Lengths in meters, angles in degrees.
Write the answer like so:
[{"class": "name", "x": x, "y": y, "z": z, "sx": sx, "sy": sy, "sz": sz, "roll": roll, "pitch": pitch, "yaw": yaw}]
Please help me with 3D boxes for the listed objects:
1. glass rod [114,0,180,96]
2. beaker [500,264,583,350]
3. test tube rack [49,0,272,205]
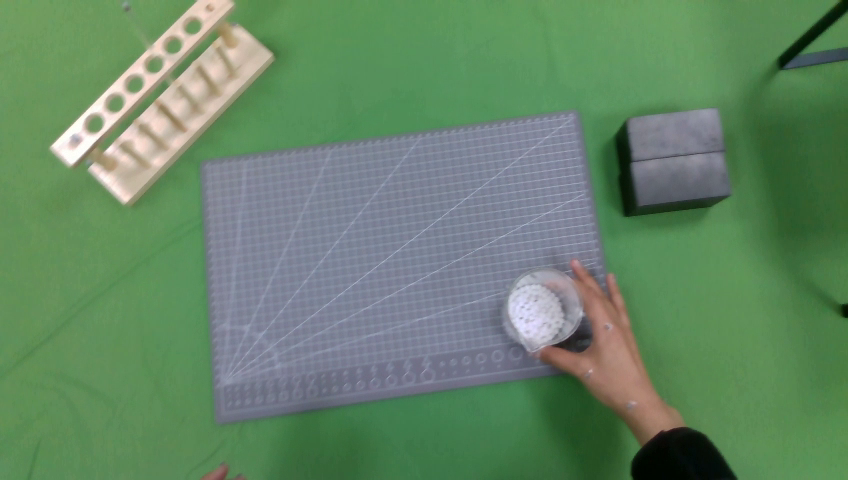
[{"class": "glass rod", "x": -0.289, "y": -0.206, "z": 0.629, "sx": 0.008, "sy": 0.201, "sz": 0.008, "roll": 1, "pitch": 71, "yaw": -1}, {"class": "beaker", "x": 0.116, "y": 0.074, "z": 0.623, "sx": 0.074, "sy": 0.101, "sz": 0.083, "roll": 15, "pitch": 79, "yaw": 7}, {"class": "test tube rack", "x": -0.290, "y": -0.159, "z": 0.687, "sx": 0.066, "sy": 0.085, "sz": 0.242, "roll": 41, "pitch": 83, "yaw": 9}]
